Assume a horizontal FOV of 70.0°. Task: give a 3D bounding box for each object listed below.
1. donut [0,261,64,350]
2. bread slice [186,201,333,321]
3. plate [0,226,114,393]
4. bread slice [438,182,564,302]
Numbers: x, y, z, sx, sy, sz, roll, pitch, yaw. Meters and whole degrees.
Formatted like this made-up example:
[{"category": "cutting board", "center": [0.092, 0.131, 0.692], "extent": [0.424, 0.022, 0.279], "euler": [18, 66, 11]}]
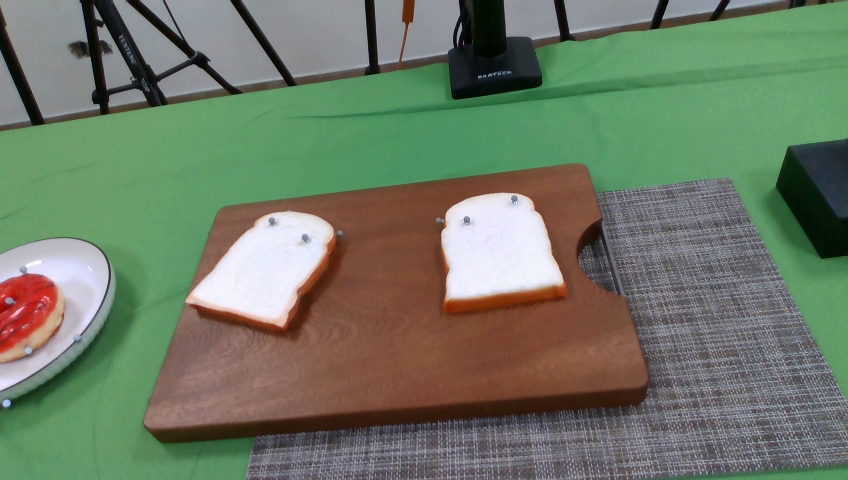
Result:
[{"category": "donut", "center": [-0.407, 0.064, 0.598], "extent": [0.099, 0.049, 0.098], "euler": [-7, 47, 8]}, {"category": "bread slice", "center": [-0.149, 0.015, 0.580], "extent": [0.106, 0.018, 0.133], "euler": [8, 51, 19]}, {"category": "plate", "center": [-0.410, 0.071, 0.607], "extent": [0.209, 0.038, 0.207], "euler": [-6, 46, 7]}, {"category": "bread slice", "center": [0.062, -0.004, 0.554], "extent": [0.105, 0.019, 0.130], "euler": [-9, 47, 2]}]
